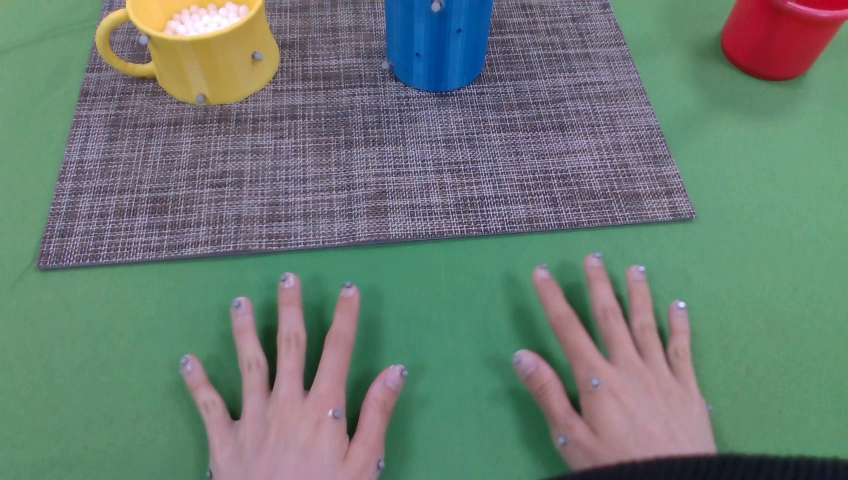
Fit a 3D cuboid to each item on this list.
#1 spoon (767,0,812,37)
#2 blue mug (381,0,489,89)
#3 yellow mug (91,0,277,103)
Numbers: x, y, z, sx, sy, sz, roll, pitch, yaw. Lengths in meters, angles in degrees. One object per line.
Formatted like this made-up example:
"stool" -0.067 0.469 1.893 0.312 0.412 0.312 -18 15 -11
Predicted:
"spoon" 0.272 -0.188 0.461 0.041 0.022 0.195 50 25 25
"blue mug" 0.018 -0.194 0.471 0.082 0.106 0.116 34 63 17
"yellow mug" -0.184 -0.160 0.464 0.131 0.064 0.099 -18 61 -12
